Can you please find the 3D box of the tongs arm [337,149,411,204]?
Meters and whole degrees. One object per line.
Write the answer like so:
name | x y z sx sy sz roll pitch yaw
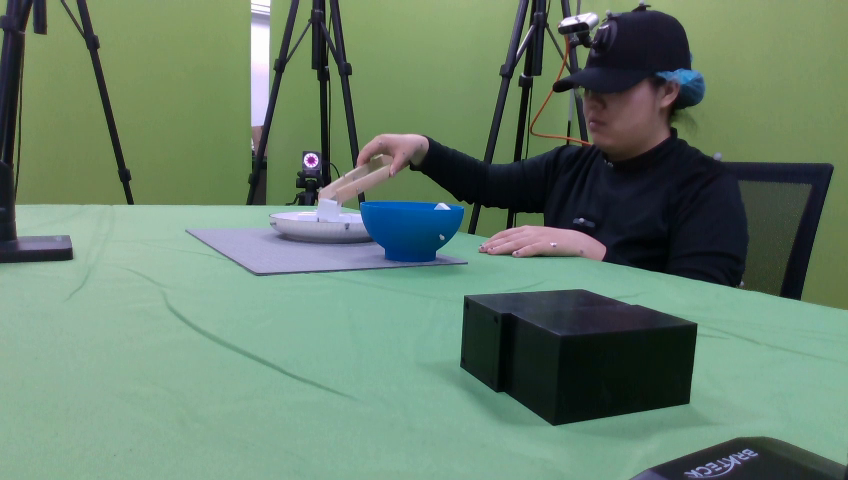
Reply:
tongs arm | -0.087 -0.130 1.166 0.028 0.028 0.388 0 18 18

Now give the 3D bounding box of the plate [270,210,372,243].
plate | -0.161 -0.023 1.054 0.208 0.039 0.207 2 7 0

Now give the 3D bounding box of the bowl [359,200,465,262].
bowl | -0.018 -0.013 0.859 0.151 0.077 0.151 2 7 0

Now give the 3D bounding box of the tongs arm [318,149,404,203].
tongs arm | -0.109 -0.131 1.173 0.050 0.026 0.385 2 19 13
